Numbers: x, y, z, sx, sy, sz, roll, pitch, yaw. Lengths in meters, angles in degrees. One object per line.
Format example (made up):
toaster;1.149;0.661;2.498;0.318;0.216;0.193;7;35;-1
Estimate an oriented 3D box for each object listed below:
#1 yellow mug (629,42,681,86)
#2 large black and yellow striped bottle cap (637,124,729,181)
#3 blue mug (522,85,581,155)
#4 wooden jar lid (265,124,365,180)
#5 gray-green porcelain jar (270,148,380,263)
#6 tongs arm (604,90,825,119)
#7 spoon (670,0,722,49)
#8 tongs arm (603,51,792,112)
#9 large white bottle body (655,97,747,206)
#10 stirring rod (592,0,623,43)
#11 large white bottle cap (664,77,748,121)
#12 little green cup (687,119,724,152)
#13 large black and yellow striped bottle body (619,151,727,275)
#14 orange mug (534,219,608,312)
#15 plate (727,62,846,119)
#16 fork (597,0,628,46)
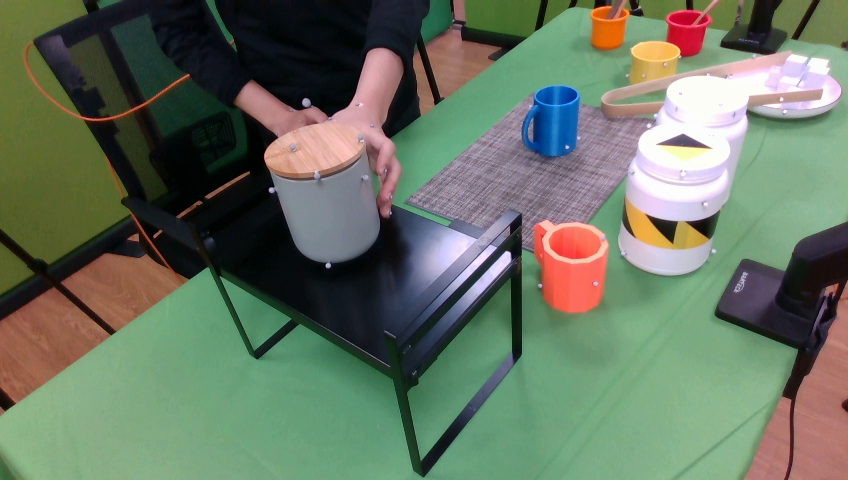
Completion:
yellow mug;0.495;-0.389;1.321;0.100;0.064;0.130;-14;40;-7
large black and yellow striped bottle cap;0.346;-0.119;0.810;0.115;0.019;0.114;-5;41;5
blue mug;0.233;-0.218;1.127;0.117;0.106;0.081;-23;43;-16
wooden jar lid;-0.115;-0.092;0.651;0.108;0.021;0.108;-4;38;4
gray-green porcelain jar;-0.109;-0.045;0.692;0.106;0.127;0.105;-4;40;4
tongs arm;0.546;-0.262;1.163;0.386;0.028;0.028;-1;49;18
spoon;0.639;-0.510;1.380;0.193;0.022;0.041;-49;40;19
tongs arm;0.552;-0.320;1.224;0.384;0.027;0.050;-11;44;7
large white bottle body;0.430;-0.148;0.959;0.130;0.185;0.130;-4;41;4
stirring rod;0.460;-0.557;1.461;0.014;0.176;0.006;35;11;22
large white bottle cap;0.421;-0.212;0.905;0.115;0.018;0.114;-4;40;4
little green cup;0.514;-0.191;1.109;0.061;0.039;0.061;-5;40;5
large black and yellow striped bottle body;0.354;-0.056;0.865;0.131;0.185;0.130;-4;41;4
orange mug;0.200;0.027;0.858;0.084;0.101;0.125;-24;47;-19
plate;0.710;-0.292;1.197;0.207;0.039;0.206;-4;40;4
fork;0.479;-0.558;1.455;0.028;0.019;0.207;35;100;38
